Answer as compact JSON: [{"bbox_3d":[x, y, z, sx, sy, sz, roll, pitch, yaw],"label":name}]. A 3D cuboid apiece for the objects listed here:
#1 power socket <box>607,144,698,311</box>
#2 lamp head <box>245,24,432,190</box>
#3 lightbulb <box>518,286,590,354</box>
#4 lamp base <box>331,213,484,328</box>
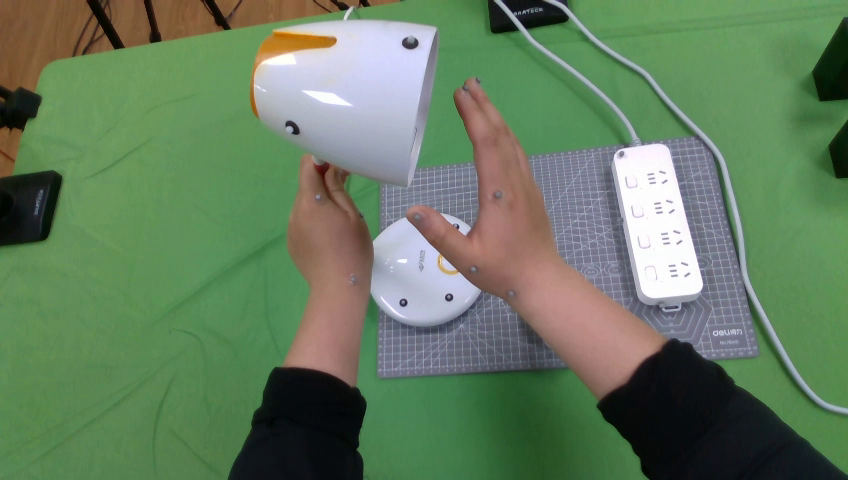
[{"bbox_3d":[0.283,-0.023,0.759,0.072,0.033,0.225,-7,65,7],"label":"power socket"},{"bbox_3d":[-0.059,-0.097,0.427,0.123,0.113,0.111,8,68,5],"label":"lamp head"},{"bbox_3d":[0.151,0.092,0.726,0.059,0.060,0.106,-40,49,-7],"label":"lightbulb"},{"bbox_3d":[-0.028,0.009,0.724,0.179,0.182,0.159,-12,65,9],"label":"lamp base"}]
